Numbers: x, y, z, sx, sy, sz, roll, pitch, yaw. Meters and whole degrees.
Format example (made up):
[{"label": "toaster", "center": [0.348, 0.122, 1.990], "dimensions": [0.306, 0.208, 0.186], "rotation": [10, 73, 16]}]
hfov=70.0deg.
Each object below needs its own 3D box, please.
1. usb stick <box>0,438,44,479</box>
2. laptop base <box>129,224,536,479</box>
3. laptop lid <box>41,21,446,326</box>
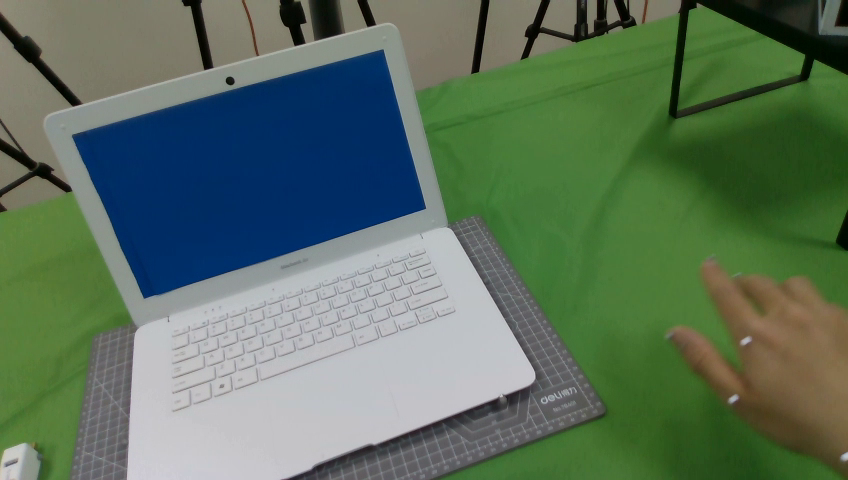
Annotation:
[{"label": "usb stick", "center": [-0.354, 0.197, 0.532], "dimensions": [0.021, 0.027, 0.058], "rotation": [-21, 38, -5]}, {"label": "laptop base", "center": [-0.100, 0.109, 0.583], "dimensions": [0.355, 0.023, 0.232], "rotation": [-19, 44, -9]}, {"label": "laptop lid", "center": [-0.167, -0.066, 0.630], "dimensions": [0.357, 0.243, 0.013], "rotation": [-20, 20, -8]}]
